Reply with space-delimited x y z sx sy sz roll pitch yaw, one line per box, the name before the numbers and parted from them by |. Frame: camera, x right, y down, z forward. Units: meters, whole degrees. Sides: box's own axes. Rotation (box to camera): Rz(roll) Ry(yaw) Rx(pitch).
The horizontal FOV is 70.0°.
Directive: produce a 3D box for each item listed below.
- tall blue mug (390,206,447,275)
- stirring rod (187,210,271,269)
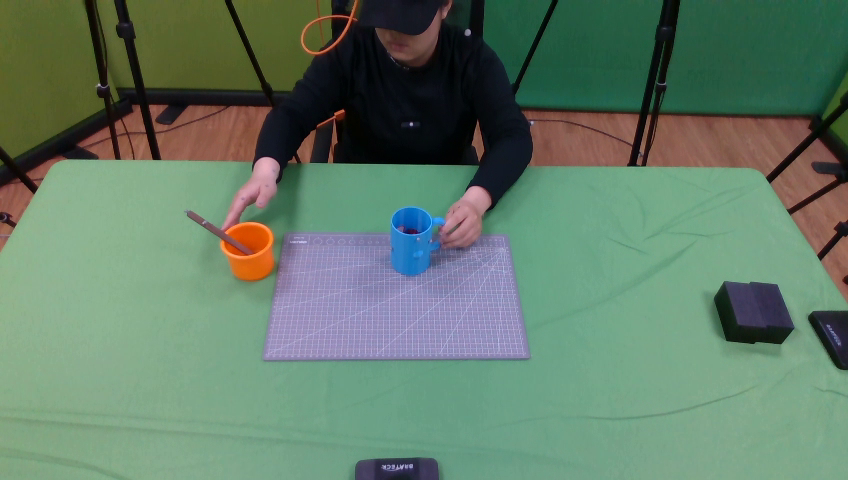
tall blue mug | -0.016 -0.006 1.140 0.077 0.108 0.107 30 51 24
stirring rod | -0.349 0.001 1.092 0.177 0.006 0.014 39 35 -27
